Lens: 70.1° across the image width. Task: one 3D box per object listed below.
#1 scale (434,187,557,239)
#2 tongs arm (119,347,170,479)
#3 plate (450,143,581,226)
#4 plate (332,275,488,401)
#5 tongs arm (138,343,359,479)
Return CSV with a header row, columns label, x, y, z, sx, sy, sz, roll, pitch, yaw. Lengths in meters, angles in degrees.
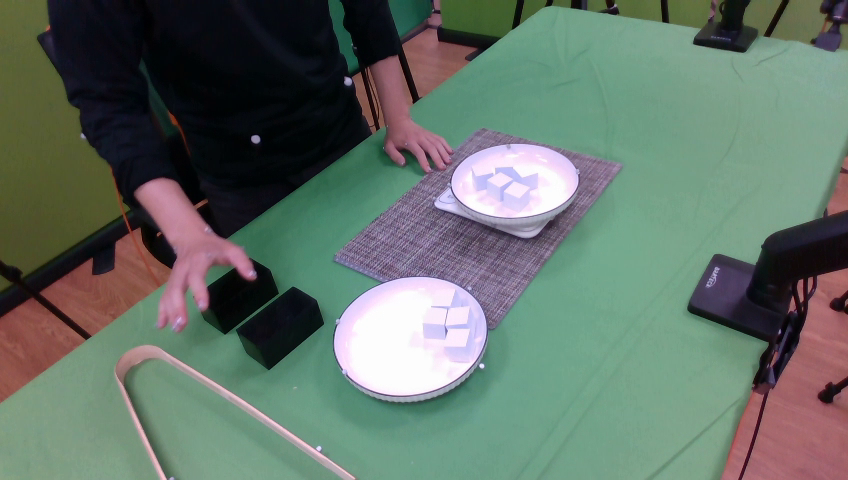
label,x,y,z,sx,sy,sz,roll,pitch,yaw
scale,0.132,-0.075,1.025,0.199,0.032,0.149,22,48,30
tongs arm,-0.291,0.251,0.707,0.051,0.026,0.381,-32,45,-26
plate,0.148,-0.087,0.986,0.209,0.038,0.208,-4,41,4
plate,-0.017,0.131,0.808,0.207,0.039,0.206,-4,41,4
tongs arm,-0.229,0.208,0.753,0.384,0.028,0.028,21,51,29
